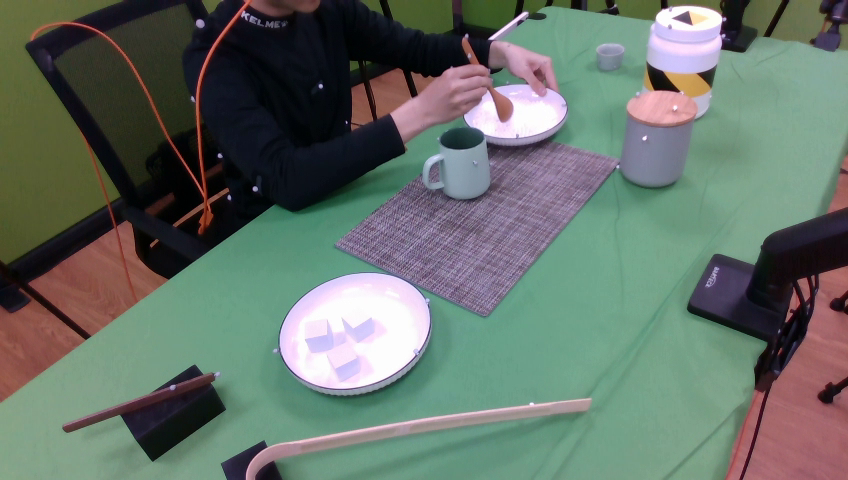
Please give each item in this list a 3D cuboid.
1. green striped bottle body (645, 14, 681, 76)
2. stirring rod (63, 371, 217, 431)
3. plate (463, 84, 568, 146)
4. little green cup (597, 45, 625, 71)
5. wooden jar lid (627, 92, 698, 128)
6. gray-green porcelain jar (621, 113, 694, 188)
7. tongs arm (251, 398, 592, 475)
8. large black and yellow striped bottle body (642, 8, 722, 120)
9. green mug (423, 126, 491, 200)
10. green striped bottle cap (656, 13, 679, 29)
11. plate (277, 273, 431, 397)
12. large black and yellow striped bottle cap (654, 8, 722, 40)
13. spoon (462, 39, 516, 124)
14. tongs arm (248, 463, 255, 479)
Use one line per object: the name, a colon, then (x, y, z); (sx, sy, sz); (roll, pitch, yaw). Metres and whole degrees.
green striped bottle body: (0.520, -0.424, 1.312); (0.063, 0.120, 0.063); (-4, 41, 4)
stirring rod: (-0.337, 0.192, 0.723); (0.177, 0.014, 0.005); (-18, 43, -12)
plate: (0.182, -0.246, 1.208); (0.209, 0.038, 0.208); (-4, 42, 4)
little green cup: (0.422, -0.413, 1.375); (0.061, 0.039, 0.061); (-3, 41, 3)
wooden jar lid: (0.384, -0.207, 0.980); (0.108, 0.021, 0.108); (-6, 39, 5)
gray-green porcelain jar: (0.390, -0.161, 1.020); (0.106, 0.127, 0.105); (-4, 41, 4)
tongs arm: (0.008, 0.212, 0.675); (0.389, 0.028, 0.028); (-5, 46, -11)
large black and yellow striped bottle body: (0.493, -0.334, 1.161); (0.131, 0.185, 0.130); (-4, 41, 4)
green mug: (0.055, -0.125, 1.039); (0.126, 0.105, 0.091); (-25, 44, -19)
green striped bottle cap: (0.515, -0.463, 1.278); (0.044, 0.020, 0.044); (-6, 42, 6)
plate: (-0.091, 0.129, 0.821); (0.207, 0.039, 0.206); (-4, 40, 4)
large black and yellow striped bottle cap: (0.483, -0.397, 1.108); (0.115, 0.019, 0.114); (-3, 41, 3)
spoon: (0.115, -0.281, 1.085); (0.041, 0.195, 0.021); (-49, 37, -7)
tongs arm: (0.012, 0.262, 0.615); (0.385, 0.026, 0.050); (2, 41, -2)
